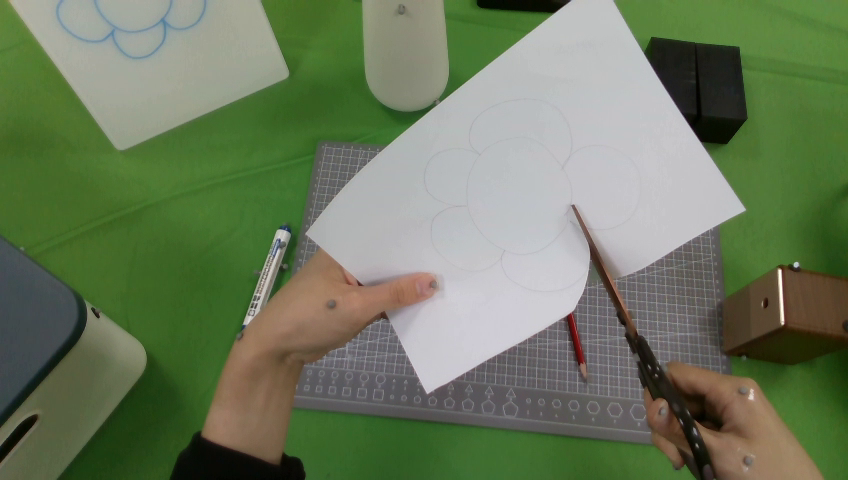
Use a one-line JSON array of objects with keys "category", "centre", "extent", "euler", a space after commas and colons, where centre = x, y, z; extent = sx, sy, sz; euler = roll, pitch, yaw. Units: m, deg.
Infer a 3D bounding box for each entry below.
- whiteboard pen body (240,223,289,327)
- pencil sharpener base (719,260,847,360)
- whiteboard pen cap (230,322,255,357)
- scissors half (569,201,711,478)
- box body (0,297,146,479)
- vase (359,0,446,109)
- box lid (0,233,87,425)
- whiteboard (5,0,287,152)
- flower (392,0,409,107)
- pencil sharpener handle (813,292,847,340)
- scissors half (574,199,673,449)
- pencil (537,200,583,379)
[{"category": "whiteboard pen body", "centre": [-0.167, 0.045, 0.623], "extent": [0.017, 0.017, 0.140], "euler": [12, 66, 5]}, {"category": "pencil sharpener base", "centre": [0.338, 0.069, 0.567], "extent": [0.077, 0.107, 0.061], "euler": [9, 67, 1]}, {"category": "whiteboard pen cap", "centre": [-0.178, 0.098, 0.599], "extent": [0.018, 0.018, 0.033], "euler": [11, 63, 5]}, {"category": "scissors half", "centre": [0.124, 0.055, 0.355], "extent": [0.013, 0.040, 0.174], "euler": [-24, 79, 2]}, {"category": "box body", "centre": [-0.470, 0.089, 0.527], "extent": [0.362, 0.161, 0.253], "euler": [31, 71, 12]}, {"category": "vase", "centre": [-0.025, -0.230, 0.641], "extent": [0.098, 0.201, 0.097], "euler": [0, 66, 1]}, {"category": "box lid", "centre": [-0.472, 0.059, 0.458], "extent": [0.370, 0.015, 0.262], "euler": [31, 70, 12]}, {"category": "whiteboard", "centre": [-0.314, -0.290, 0.640], "extent": [0.217, 0.308, 0.142], "euler": [-27, 51, -10]}, {"category": "flower", "centre": [-0.031, -0.275, 0.569], "extent": [0.044, 0.365, 0.038], "euler": [-2, 50, 3]}, {"category": "pencil sharpener handle", "centre": [0.388, 0.074, 0.555], "extent": [0.030, 0.068, 0.035], "euler": [9, 61, 1]}, {"category": "scissors half", "centre": [0.126, 0.053, 0.376], "extent": [0.013, 0.040, 0.176], "euler": [-24, 104, 7]}, {"category": "pencil", "centre": [0.141, 0.047, 0.627], "extent": [0.012, 0.012, 0.192], "euler": [-8, 70, -3]}]
